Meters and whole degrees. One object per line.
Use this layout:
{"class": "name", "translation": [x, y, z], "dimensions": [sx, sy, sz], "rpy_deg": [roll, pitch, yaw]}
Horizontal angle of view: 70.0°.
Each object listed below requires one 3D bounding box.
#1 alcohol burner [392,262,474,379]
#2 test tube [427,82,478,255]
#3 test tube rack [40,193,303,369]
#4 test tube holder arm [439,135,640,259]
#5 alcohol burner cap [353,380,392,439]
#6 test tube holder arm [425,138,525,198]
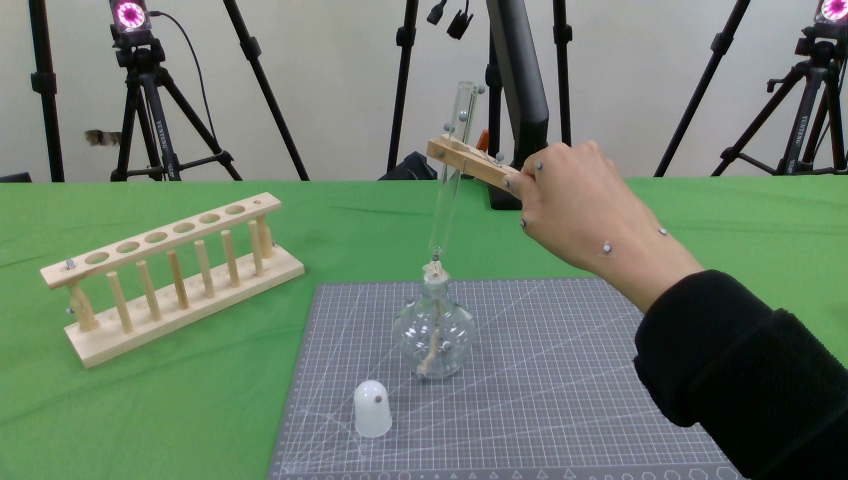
{"class": "alcohol burner", "translation": [0.009, 0.068, 0.554], "dimensions": [0.078, 0.120, 0.077], "rpy_deg": [0, 33, 0]}
{"class": "test tube", "translation": [0.020, -0.051, 0.476], "dimensions": [0.017, 0.151, 0.017], "rpy_deg": [7, 34, -5]}
{"class": "test tube rack", "translation": [-0.256, 0.034, 0.650], "dimensions": [0.243, 0.086, 0.066], "rpy_deg": [-25, 39, -33]}
{"class": "test tube holder arm", "translation": [0.074, -0.036, 0.433], "dimensions": [0.176, 0.015, 0.013], "rpy_deg": [34, 41, 32]}
{"class": "alcohol burner cap", "translation": [-0.044, 0.139, 0.509], "dimensions": [0.034, 0.048, 0.033], "rpy_deg": [0, 32, 0]}
{"class": "test tube holder arm", "translation": [0.038, -0.054, 0.451], "dimensions": [0.087, 0.015, 0.010], "rpy_deg": [28, 37, 25]}
